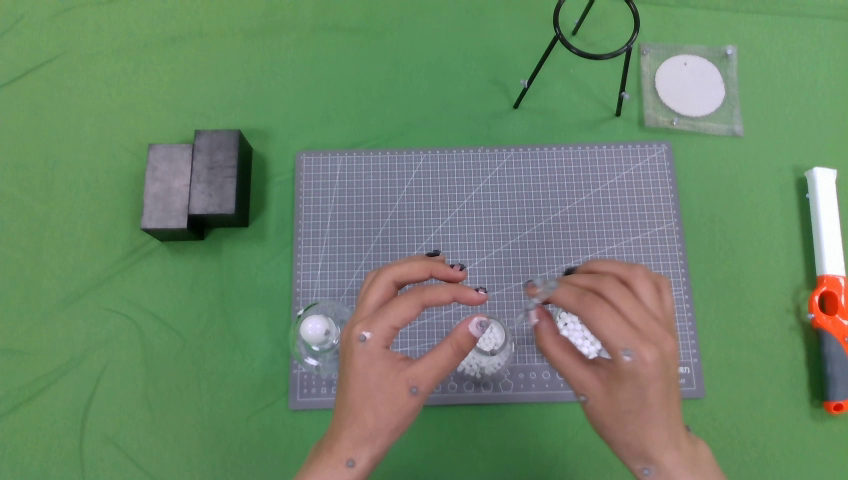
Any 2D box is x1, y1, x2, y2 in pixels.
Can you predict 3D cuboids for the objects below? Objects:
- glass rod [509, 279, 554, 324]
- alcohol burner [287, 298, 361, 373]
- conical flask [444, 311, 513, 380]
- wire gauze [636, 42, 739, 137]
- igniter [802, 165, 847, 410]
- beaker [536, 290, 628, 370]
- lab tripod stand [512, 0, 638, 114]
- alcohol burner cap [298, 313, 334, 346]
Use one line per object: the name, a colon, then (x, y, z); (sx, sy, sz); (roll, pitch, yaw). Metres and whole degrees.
glass rod: (0.073, 0.047, 0.433); (0.008, 0.200, 0.008); (0, 77, 2)
alcohol burner: (-0.105, 0.095, 0.617); (0.078, 0.120, 0.077); (-1, 74, 3)
conical flask: (0.058, 0.101, 0.612); (0.075, 0.122, 0.075); (0, 75, 1)
wire gauze: (0.326, -0.189, 0.748); (0.125, 0.011, 0.121); (4, 76, -1)
igniter: (0.452, 0.048, 0.677); (0.057, 0.025, 0.275); (7, 76, -9)
beaker: (0.160, 0.095, 0.625); (0.084, 0.101, 0.073); (-34, 78, -9)
lab tripod stand: (0.175, -0.209, 0.688); (0.148, 0.132, 0.147); (0, 77, 1)
alcohol burner cap: (-0.105, 0.085, 0.583); (0.034, 0.048, 0.033); (1, 79, -3)
